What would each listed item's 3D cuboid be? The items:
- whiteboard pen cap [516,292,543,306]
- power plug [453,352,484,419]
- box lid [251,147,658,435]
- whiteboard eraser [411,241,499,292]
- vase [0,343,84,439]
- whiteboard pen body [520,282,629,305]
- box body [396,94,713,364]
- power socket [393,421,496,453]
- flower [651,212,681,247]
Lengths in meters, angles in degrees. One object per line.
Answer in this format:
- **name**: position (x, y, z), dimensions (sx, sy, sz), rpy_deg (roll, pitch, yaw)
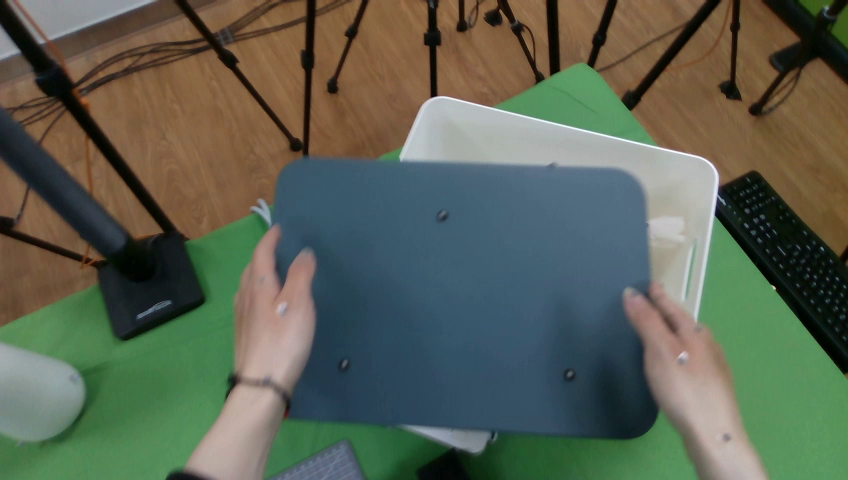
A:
- **whiteboard pen cap**: position (0.137, 0.076, 0.788), dimensions (0.033, 0.018, 0.018), rpy_deg (-8, 65, 1)
- **power plug**: position (0.062, 0.178, 0.719), dimensions (0.035, 0.053, 0.072), rpy_deg (31, 66, 18)
- **box lid**: position (0.034, 0.040, 0.574), dimensions (0.371, 0.015, 0.262), rpy_deg (3, 74, 2)
- **whiteboard eraser**: position (0.041, 0.035, 0.796), dimensions (0.112, 0.042, 0.055), rpy_deg (7, 66, 3)
- **vase**: position (-0.474, 0.161, 0.679), dimensions (0.098, 0.201, 0.097), rpy_deg (-1, 63, 2)
- **whiteboard pen body**: position (0.195, 0.071, 0.788), dimensions (0.141, 0.017, 0.017), rpy_deg (-8, 65, 0)
- **box body**: position (0.132, 0.001, 0.752), dimensions (0.363, 0.161, 0.252), rpy_deg (15, 66, 9)
- **power socket**: position (-0.020, 0.189, 0.742), dimensions (0.226, 0.033, 0.072), rpy_deg (19, 67, 11)
- **flower**: position (0.159, -0.015, 0.830), dimensions (0.360, 0.038, 0.043), rpy_deg (1, 55, 20)
